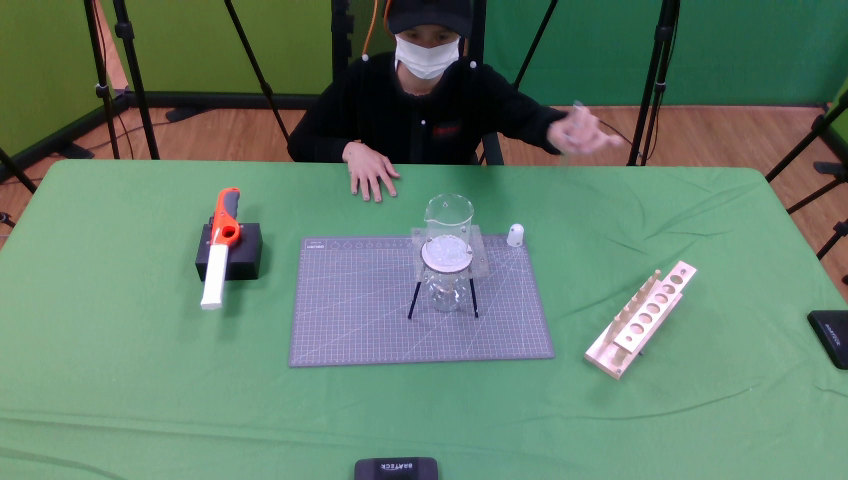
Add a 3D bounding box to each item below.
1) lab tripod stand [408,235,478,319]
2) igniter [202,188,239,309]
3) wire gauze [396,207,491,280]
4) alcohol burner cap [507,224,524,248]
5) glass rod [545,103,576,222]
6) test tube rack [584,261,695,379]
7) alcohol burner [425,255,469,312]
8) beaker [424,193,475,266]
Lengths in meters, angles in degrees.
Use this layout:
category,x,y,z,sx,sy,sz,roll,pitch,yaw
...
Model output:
category,x,y,z,sx,sy,sz,roll,pitch,yaw
lab tripod stand,0.032,0.065,1.057,0.148,0.132,0.147,1,45,-1
igniter,-0.367,0.006,1.095,0.057,0.025,0.274,-2,49,-7
wire gauze,0.032,0.006,1.001,0.125,0.011,0.120,-20,52,-16
alcohol burner cap,0.184,-0.010,1.206,0.034,0.048,0.033,0,45,0
glass rod,0.203,-0.110,0.906,0.008,0.200,0.008,4,36,-2
test tube rack,0.380,0.127,1.062,0.066,0.085,0.242,34,53,26
alcohol burner,0.041,0.072,1.065,0.078,0.120,0.077,1,46,-1
beaker,0.036,-0.013,0.974,0.084,0.101,0.073,-18,48,-20
